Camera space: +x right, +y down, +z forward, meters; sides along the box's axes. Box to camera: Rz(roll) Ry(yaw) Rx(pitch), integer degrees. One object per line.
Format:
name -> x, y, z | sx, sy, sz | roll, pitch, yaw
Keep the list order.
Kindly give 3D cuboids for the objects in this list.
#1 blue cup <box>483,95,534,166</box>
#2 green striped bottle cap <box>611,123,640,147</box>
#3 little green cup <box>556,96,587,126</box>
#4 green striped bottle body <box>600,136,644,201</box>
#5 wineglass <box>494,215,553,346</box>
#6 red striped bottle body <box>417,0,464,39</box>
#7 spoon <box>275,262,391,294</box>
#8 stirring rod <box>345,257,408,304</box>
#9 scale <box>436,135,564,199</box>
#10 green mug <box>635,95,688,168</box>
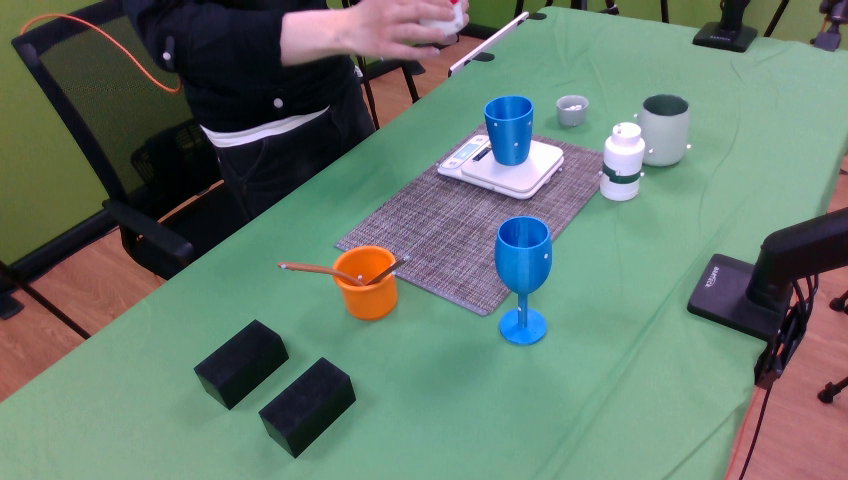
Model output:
blue cup -> 0.149, -0.186, 1.051 | 0.092, 0.101, 0.092 | -6, 41, 6
green striped bottle cap -> 0.322, -0.168, 0.963 | 0.044, 0.020, 0.044 | -3, 42, 3
little green cup -> 0.295, -0.258, 1.214 | 0.061, 0.039, 0.061 | -5, 41, 5
green striped bottle body -> 0.326, -0.128, 0.997 | 0.063, 0.120, 0.063 | -4, 41, 4
wineglass -> 0.127, 0.055, 0.770 | 0.074, 0.173, 0.073 | -4, 40, 4
red striped bottle body -> 0.019, -0.343, 0.825 | 0.063, 0.120, 0.062 | -5, 45, 5
spoon -> -0.120, 0.050, 0.830 | 0.041, 0.195, 0.021 | 32, 97, 45
stirring rod -> -0.067, 0.057, 0.814 | 0.014, 0.175, 0.006 | -25, 82, -38
scale -> 0.137, -0.142, 1.101 | 0.199, 0.032, 0.149 | 22, 48, 30
green mug -> 0.421, -0.201, 1.081 | 0.092, 0.105, 0.125 | 5, 42, 15
